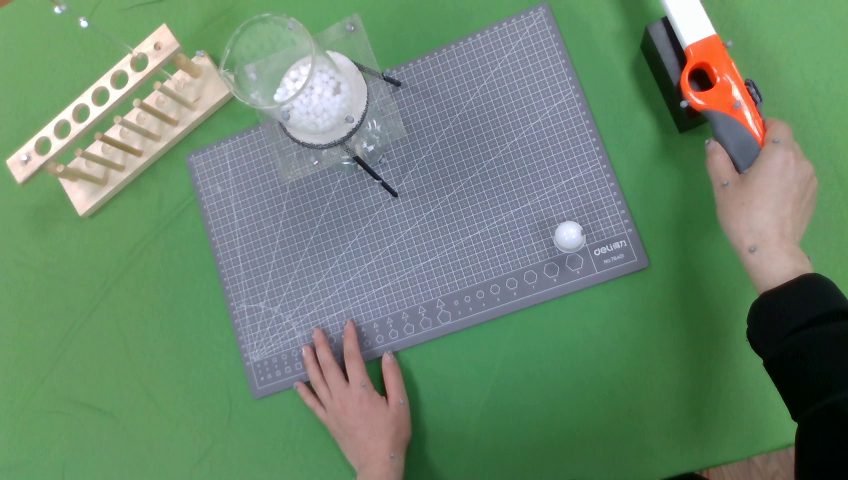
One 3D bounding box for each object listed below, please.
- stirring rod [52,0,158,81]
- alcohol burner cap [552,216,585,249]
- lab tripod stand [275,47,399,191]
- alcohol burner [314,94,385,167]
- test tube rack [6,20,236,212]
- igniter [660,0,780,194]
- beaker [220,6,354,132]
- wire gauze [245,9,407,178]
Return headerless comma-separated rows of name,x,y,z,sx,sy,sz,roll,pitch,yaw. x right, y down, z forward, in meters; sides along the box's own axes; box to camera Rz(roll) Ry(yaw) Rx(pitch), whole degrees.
stirring rod,-0.327,-0.208,0.621,0.006,0.177,0.014,-36,72,1
alcohol burner cap,0.144,-0.009,0.601,0.034,0.048,0.034,-1,84,12
lab tripod stand,-0.078,-0.123,0.612,0.148,0.132,0.148,-1,85,10
alcohol burner,-0.082,-0.117,0.622,0.078,0.119,0.077,-1,84,11
test tube rack,-0.346,-0.135,0.699,0.242,0.085,0.066,-37,78,7
igniter,0.253,-0.171,0.549,0.057,0.025,0.275,-21,76,14
beaker,-0.107,-0.134,0.502,0.084,0.100,0.074,-6,84,12
wire gauze,-0.092,-0.131,0.548,0.125,0.011,0.121,-20,85,7
